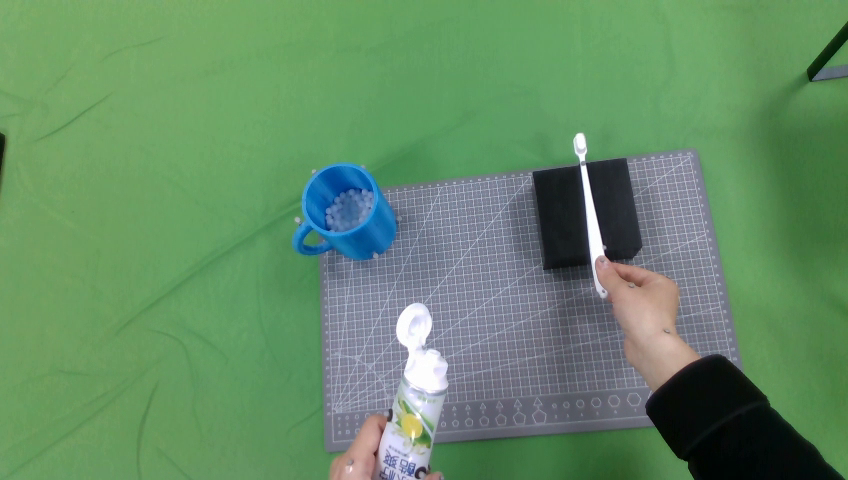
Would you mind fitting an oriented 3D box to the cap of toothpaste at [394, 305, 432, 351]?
[{"bbox_3d":[-0.007,0.067,0.459,0.011,0.038,0.037,15,76,46],"label":"cap of toothpaste"}]

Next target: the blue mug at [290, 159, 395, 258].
[{"bbox_3d":[-0.095,-0.023,0.673,0.116,0.106,0.082,-34,74,-1],"label":"blue mug"}]

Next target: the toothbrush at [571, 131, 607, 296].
[{"bbox_3d":[0.174,-0.031,0.635,0.014,0.017,0.181,-4,75,-3],"label":"toothbrush"}]

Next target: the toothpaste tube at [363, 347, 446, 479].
[{"bbox_3d":[-0.017,0.157,0.465,0.055,0.034,0.165,20,103,22],"label":"toothpaste tube"}]
